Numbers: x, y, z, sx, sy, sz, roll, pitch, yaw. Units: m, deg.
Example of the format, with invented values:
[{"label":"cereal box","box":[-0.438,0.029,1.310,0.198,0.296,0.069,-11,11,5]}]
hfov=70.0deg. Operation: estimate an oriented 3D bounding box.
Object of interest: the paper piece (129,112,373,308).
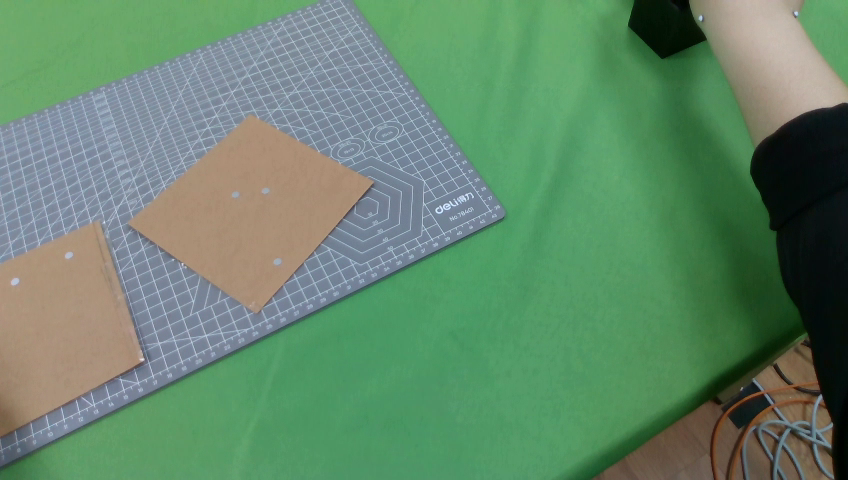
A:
[{"label":"paper piece","box":[-0.132,-0.031,0.466,0.135,0.004,0.135,31,66,19]}]

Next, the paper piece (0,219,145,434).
[{"label":"paper piece","box":[-0.276,0.061,0.422,0.138,0.009,0.134,-28,58,-11]}]

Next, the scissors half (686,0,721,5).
[{"label":"scissors half","box":[0.197,-0.256,0.521,0.040,0.013,0.173,-22,59,-2]}]
